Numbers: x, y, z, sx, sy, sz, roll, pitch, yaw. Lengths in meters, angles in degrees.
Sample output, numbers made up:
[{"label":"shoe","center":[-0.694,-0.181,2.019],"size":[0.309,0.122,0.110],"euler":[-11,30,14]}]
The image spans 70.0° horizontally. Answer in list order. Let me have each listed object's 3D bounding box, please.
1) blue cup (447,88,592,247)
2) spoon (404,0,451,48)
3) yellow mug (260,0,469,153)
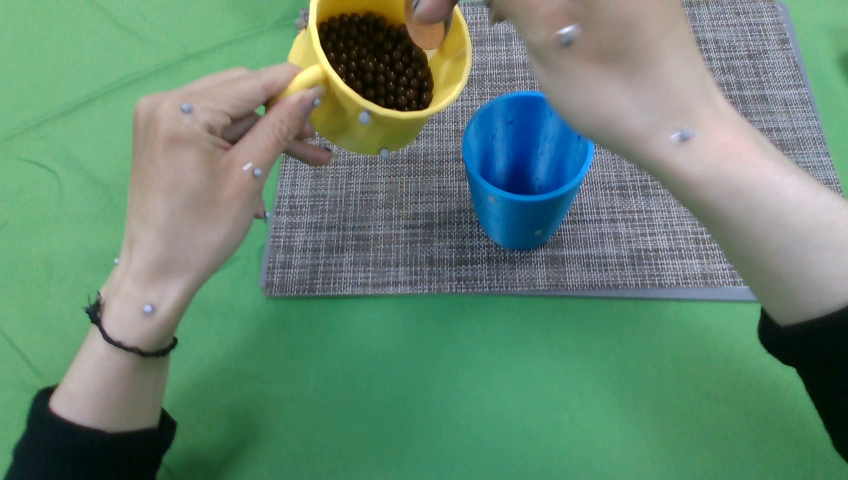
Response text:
[{"label":"blue cup","center":[0.069,-0.042,0.433],"size":[0.092,0.101,0.092],"euler":[-2,64,4]},{"label":"spoon","center":[0.009,-0.126,0.273],"size":[0.021,0.193,0.042],"euler":[-18,96,-4]},{"label":"yellow mug","center":[-0.042,-0.104,0.368],"size":[0.131,0.064,0.100],"euler":[-35,94,-25]}]
